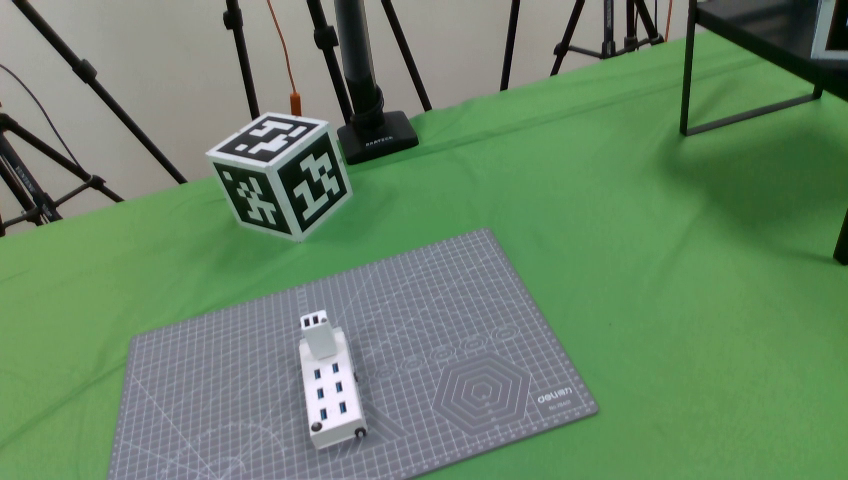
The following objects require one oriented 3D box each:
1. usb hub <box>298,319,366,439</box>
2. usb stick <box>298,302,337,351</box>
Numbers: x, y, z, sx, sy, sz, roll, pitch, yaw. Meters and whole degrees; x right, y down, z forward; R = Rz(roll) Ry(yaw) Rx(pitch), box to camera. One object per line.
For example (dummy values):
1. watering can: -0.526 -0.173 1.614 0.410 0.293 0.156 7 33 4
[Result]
1. usb hub: -0.094 0.133 0.596 0.049 0.025 0.123 -18 38 -5
2. usb stick: -0.104 0.091 0.603 0.027 0.060 0.021 -20 41 -6
